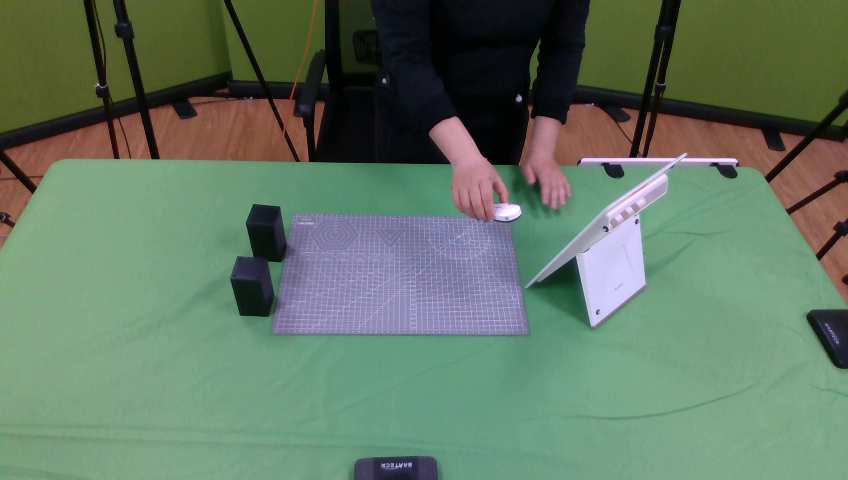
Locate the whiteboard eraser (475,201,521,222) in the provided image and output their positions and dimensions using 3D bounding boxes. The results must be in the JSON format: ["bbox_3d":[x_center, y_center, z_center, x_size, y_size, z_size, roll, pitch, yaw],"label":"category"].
[{"bbox_3d":[0.133,-0.052,1.101,0.041,0.019,0.101,-37,28,-28],"label":"whiteboard eraser"}]

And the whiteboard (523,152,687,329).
[{"bbox_3d":[0.346,0.025,1.046,0.217,0.306,0.143,-30,74,-29],"label":"whiteboard"}]
